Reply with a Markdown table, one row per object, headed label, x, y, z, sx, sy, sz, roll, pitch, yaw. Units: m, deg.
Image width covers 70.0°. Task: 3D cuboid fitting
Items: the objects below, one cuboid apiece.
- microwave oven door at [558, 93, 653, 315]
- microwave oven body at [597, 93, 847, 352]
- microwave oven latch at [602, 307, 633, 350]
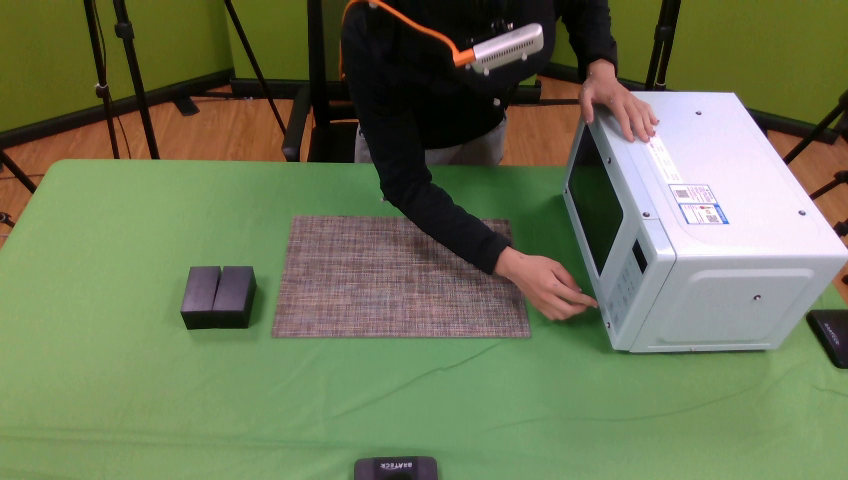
| label | x | y | z | sx | sy | sz | roll | pitch | yaw |
| --- | --- | --- | --- | --- | --- | --- | --- | --- | --- |
| microwave oven door | 0.327 | -0.074 | 1.123 | 0.039 | 0.245 | 0.353 | -1 | 46 | -5 |
| microwave oven body | 0.475 | -0.042 | 1.109 | 0.326 | 0.261 | 0.438 | -1 | 45 | -4 |
| microwave oven latch | 0.332 | 0.152 | 1.044 | 0.030 | 0.029 | 0.078 | -1 | 45 | -4 |
